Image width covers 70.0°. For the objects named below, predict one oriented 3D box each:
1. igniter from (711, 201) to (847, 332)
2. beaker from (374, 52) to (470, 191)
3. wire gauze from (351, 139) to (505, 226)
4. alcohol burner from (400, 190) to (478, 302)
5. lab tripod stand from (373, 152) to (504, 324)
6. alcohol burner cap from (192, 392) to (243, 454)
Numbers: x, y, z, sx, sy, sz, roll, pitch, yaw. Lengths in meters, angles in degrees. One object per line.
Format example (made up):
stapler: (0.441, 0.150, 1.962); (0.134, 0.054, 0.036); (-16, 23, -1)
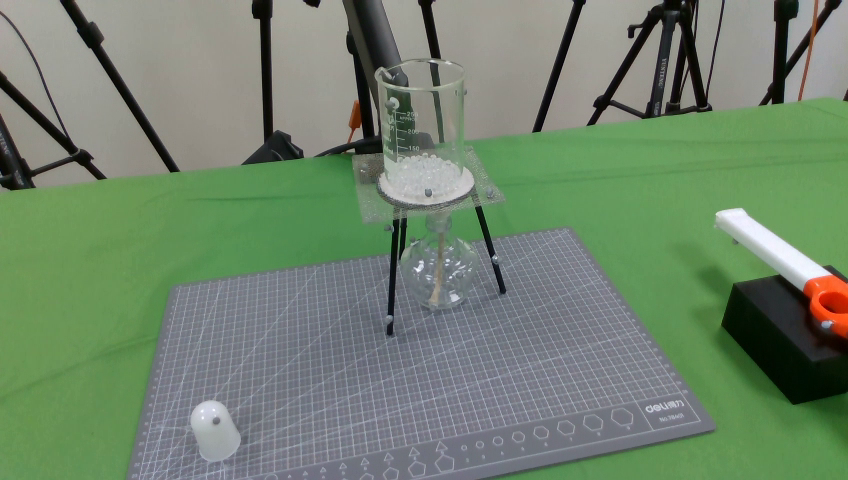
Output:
igniter: (0.338, 0.038, 0.511); (0.057, 0.025, 0.273); (-10, 33, -8)
beaker: (-0.004, -0.100, 0.514); (0.083, 0.101, 0.074); (29, 45, 36)
wire gauze: (-0.001, -0.059, 0.541); (0.121, 0.011, 0.123); (-8, 38, -7)
alcohol burner: (0.014, 0.002, 0.585); (0.078, 0.120, 0.077); (-1, 37, 1)
lab tripod stand: (0.006, -0.008, 0.583); (0.148, 0.132, 0.147); (-1, 34, 1)
alcohol burner cap: (-0.161, 0.138, 0.468); (0.034, 0.048, 0.033); (-1, 36, 1)
